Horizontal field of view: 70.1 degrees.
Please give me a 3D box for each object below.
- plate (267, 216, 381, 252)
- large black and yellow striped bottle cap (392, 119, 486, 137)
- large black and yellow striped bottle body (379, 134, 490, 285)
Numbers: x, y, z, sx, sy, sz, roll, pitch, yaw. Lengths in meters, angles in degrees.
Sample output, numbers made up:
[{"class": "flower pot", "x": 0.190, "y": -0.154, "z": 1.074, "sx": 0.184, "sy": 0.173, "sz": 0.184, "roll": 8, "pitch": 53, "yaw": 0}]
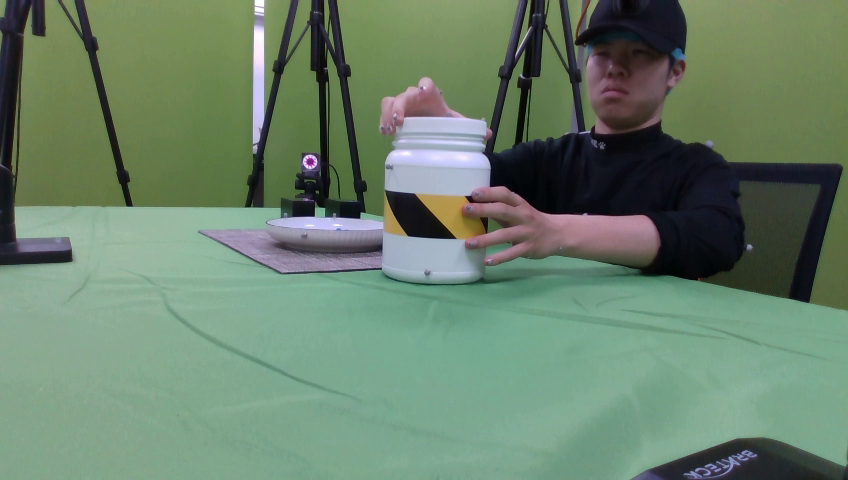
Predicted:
[{"class": "plate", "x": -0.145, "y": -0.010, "z": 0.967, "sx": 0.208, "sy": 0.039, "sz": 0.207, "roll": 2, "pitch": 7, "yaw": 0}, {"class": "large black and yellow striped bottle cap", "x": 0.018, "y": -0.134, "z": 0.733, "sx": 0.115, "sy": 0.019, "sz": 0.115, "roll": 1, "pitch": 7, "yaw": 0}, {"class": "large black and yellow striped bottle body", "x": 0.013, "y": -0.044, "z": 0.747, "sx": 0.131, "sy": 0.184, "sz": 0.130, "roll": 3, "pitch": 7, "yaw": 0}]
